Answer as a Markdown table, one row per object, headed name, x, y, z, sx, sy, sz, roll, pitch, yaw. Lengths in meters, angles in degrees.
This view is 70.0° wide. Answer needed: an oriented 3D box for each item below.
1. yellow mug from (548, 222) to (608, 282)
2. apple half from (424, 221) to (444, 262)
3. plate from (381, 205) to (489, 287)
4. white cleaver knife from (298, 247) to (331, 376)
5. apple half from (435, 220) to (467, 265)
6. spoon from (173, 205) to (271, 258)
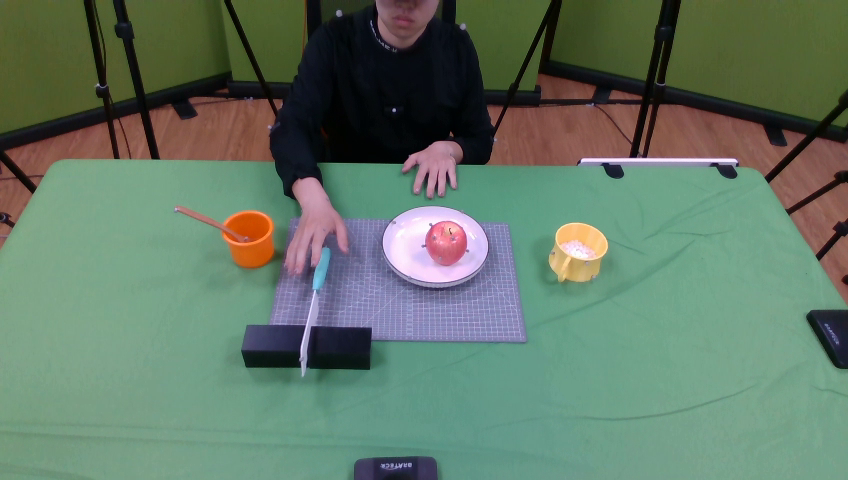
| name | x | y | z | sx | sy | sz | roll | pitch | yaw |
| --- | --- | --- | --- | --- | --- | --- | --- | --- | --- |
| yellow mug | 0.287 | 0.031 | 1.159 | 0.099 | 0.064 | 0.130 | 28 | 51 | 21 |
| apple half | 0.015 | 0.002 | 1.144 | 0.033 | 0.081 | 0.081 | 14 | 46 | 2 |
| plate | 0.021 | 0.015 | 1.170 | 0.209 | 0.038 | 0.208 | 2 | 46 | -2 |
| white cleaver knife | -0.191 | 0.111 | 1.038 | 0.021 | 0.066 | 0.285 | 5 | 36 | -2 |
| apple half | 0.054 | 0.009 | 1.142 | 0.053 | 0.075 | 0.080 | 14 | 43 | 3 |
| spoon | -0.362 | -0.017 | 1.098 | 0.021 | 0.195 | 0.041 | -33 | 42 | 27 |
